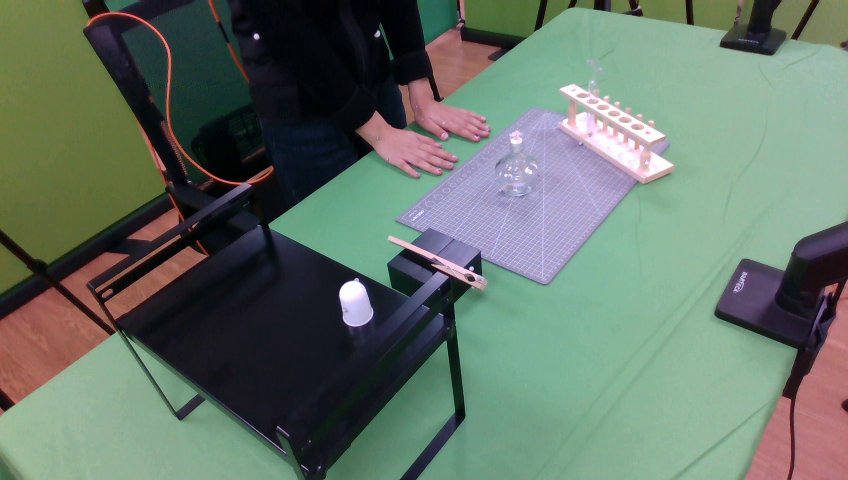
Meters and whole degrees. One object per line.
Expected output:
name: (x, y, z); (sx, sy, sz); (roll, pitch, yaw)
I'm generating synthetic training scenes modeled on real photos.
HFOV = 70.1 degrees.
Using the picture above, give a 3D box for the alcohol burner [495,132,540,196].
alcohol burner: (0.159, -0.135, 1.035); (0.078, 0.119, 0.077); (-5, 42, 5)

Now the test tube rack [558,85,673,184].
test tube rack: (0.347, -0.203, 1.109); (0.067, 0.085, 0.240); (-22, 42, -17)

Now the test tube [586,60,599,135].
test tube: (0.306, -0.256, 1.100); (0.017, 0.151, 0.017); (-6, 44, 6)

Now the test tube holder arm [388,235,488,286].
test tube holder arm: (0.016, 0.027, 0.863); (0.177, 0.015, 0.013); (26, 83, 34)

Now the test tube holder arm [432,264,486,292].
test tube holder arm: (0.047, 0.048, 0.837); (0.087, 0.015, 0.010); (27, 84, 34)

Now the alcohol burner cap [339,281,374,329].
alcohol burner cap: (-0.071, 0.063, 0.617); (0.034, 0.048, 0.033); (-5, 39, 4)
